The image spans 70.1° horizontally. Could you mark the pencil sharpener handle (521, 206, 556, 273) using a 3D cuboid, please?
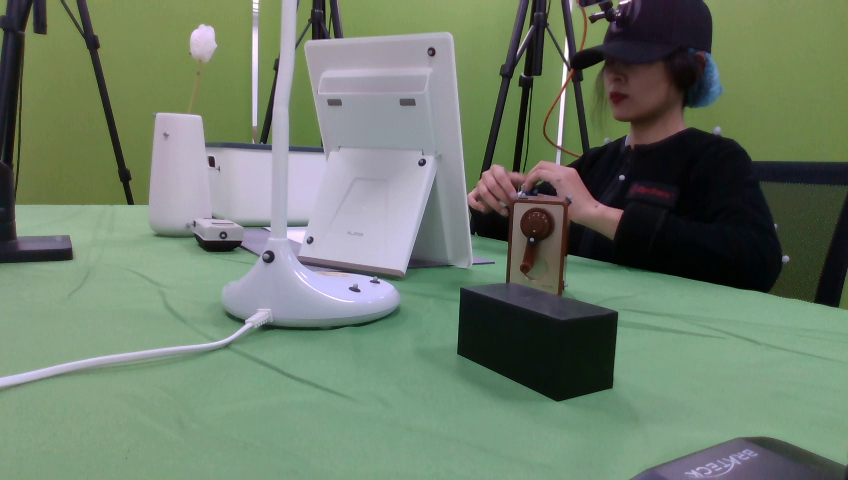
[{"bbox_3d":[0.111,0.000,0.613,0.036,0.067,0.031,13,10,14],"label":"pencil sharpener handle"}]

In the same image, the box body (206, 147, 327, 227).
[{"bbox_3d":[-0.276,-0.122,1.320,0.366,0.160,0.253,-2,9,-30],"label":"box body"}]

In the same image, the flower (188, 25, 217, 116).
[{"bbox_3d":[-0.394,-0.189,1.012,0.044,0.361,0.038,-1,-13,28],"label":"flower"}]

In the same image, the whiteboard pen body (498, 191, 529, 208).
[{"bbox_3d":[0.156,-0.071,1.053,0.017,0.017,0.140,1,-5,-11],"label":"whiteboard pen body"}]

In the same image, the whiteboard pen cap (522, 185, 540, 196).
[{"bbox_3d":[0.177,-0.080,1.000,0.018,0.018,0.033,0,-5,-20],"label":"whiteboard pen cap"}]

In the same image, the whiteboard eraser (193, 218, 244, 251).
[{"bbox_3d":[-0.307,-0.010,0.900,0.056,0.042,0.112,-4,10,-28],"label":"whiteboard eraser"}]

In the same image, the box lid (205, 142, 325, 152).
[{"bbox_3d":[-0.270,-0.196,1.310,0.373,0.015,0.262,-2,9,-30],"label":"box lid"}]

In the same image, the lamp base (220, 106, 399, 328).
[{"bbox_3d":[-0.102,-0.023,0.531,0.160,0.180,0.179,4,10,10],"label":"lamp base"}]

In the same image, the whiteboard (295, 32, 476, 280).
[{"bbox_3d":[-0.076,-0.084,0.747,0.216,0.305,0.144,7,28,29],"label":"whiteboard"}]

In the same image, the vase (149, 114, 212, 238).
[{"bbox_3d":[-0.405,-0.106,1.005,0.098,0.200,0.098,2,6,0],"label":"vase"}]

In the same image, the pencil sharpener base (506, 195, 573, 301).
[{"bbox_3d":[0.127,0.007,0.663,0.061,0.107,0.077,5,8,15],"label":"pencil sharpener base"}]
